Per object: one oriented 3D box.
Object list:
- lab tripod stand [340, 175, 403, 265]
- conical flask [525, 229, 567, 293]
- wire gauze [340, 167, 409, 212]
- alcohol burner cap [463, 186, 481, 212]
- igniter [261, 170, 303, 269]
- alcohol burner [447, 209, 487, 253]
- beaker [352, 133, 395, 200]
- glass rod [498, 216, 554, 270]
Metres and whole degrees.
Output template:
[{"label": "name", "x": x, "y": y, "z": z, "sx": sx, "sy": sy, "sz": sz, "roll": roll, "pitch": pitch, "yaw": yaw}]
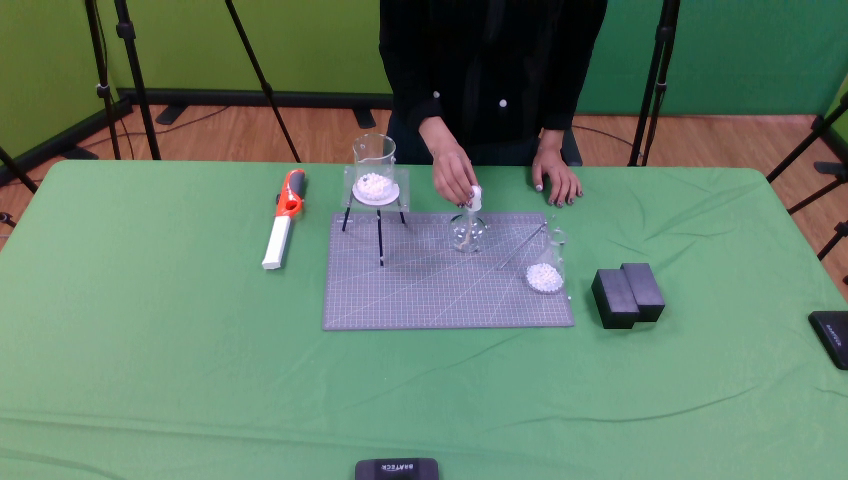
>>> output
[{"label": "lab tripod stand", "x": -0.093, "y": -0.050, "z": 1.160, "sx": 0.148, "sy": 0.132, "sz": 0.147, "roll": 2, "pitch": 44, "yaw": -2}, {"label": "conical flask", "x": 0.232, "y": 0.036, "z": 1.110, "sx": 0.075, "sy": 0.122, "sz": 0.075, "roll": 2, "pitch": 46, "yaw": -2}, {"label": "wire gauze", "x": -0.091, "y": -0.095, "z": 1.111, "sx": 0.125, "sy": 0.011, "sz": 0.120, "roll": 1, "pitch": 43, "yaw": -2}, {"label": "alcohol burner cap", "x": 0.090, "y": -0.078, "z": 1.122, "sx": 0.034, "sy": 0.048, "sz": 0.033, "roll": -1, "pitch": 45, "yaw": 1}, {"label": "igniter", "x": -0.284, "y": -0.050, "z": 1.222, "sx": 0.057, "sy": 0.025, "sz": 0.275, "roll": -4, "pitch": 45, "yaw": 6}, {"label": "alcohol burner", "x": 0.085, "y": -0.033, "z": 1.171, "sx": 0.078, "sy": 0.119, "sz": 0.077, "roll": 4, "pitch": 45, "yaw": -3}, {"label": "beaker", "x": -0.091, "y": -0.126, "z": 1.074, "sx": 0.074, "sy": 0.101, "sz": 0.084, "roll": 26, "pitch": 49, "yaw": 21}, {"label": "glass rod", "x": 0.208, "y": 0.002, "z": 1.220, "sx": 0.008, "sy": 0.008, "sz": 0.199, "roll": 32, "pitch": 52, "yaw": 25}]
